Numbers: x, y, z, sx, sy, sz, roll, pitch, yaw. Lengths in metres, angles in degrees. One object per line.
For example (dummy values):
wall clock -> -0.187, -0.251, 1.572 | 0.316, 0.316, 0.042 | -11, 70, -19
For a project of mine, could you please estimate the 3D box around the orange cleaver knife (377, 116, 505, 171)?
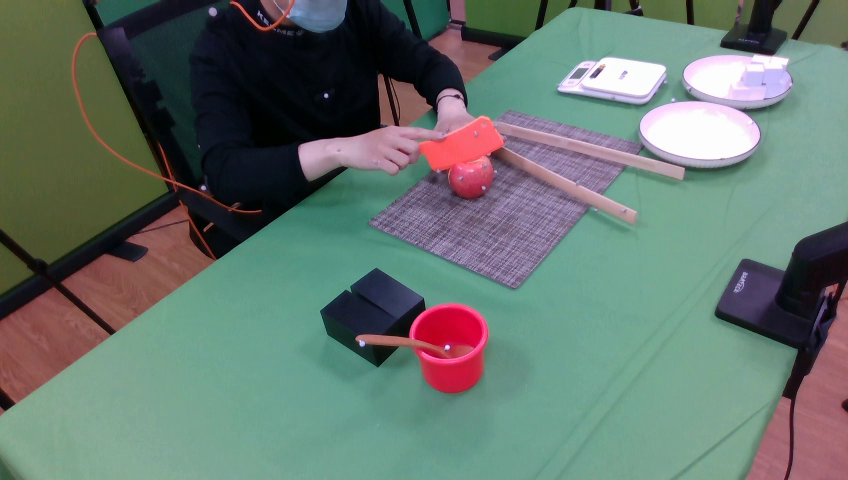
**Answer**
orange cleaver knife -> 0.029, -0.149, 1.007 | 0.211, 0.077, 0.012 | -16, 40, 8

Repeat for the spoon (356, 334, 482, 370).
spoon -> -0.001, 0.130, 0.731 | 0.195, 0.021, 0.041 | 22, 28, -39

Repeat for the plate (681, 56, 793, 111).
plate -> 0.636, -0.317, 1.239 | 0.207, 0.039, 0.206 | -4, 40, 4

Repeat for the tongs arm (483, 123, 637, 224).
tongs arm -> 0.227, -0.128, 1.080 | 0.051, 0.026, 0.381 | -33, 46, -26

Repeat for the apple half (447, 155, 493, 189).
apple half -> 0.081, -0.124, 1.065 | 0.081, 0.075, 0.053 | -8, 37, 4

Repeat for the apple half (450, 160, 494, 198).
apple half -> 0.084, -0.098, 1.034 | 0.081, 0.081, 0.032 | -7, 41, 1

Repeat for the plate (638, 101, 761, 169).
plate -> 0.500, -0.189, 1.111 | 0.209, 0.038, 0.208 | -4, 41, 4

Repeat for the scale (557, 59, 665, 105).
scale -> 0.407, -0.348, 1.314 | 0.199, 0.032, 0.149 | 19, 47, 28

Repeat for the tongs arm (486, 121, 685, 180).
tongs arm -> 0.287, -0.170, 1.124 | 0.384, 0.028, 0.028 | 21, 52, 29
